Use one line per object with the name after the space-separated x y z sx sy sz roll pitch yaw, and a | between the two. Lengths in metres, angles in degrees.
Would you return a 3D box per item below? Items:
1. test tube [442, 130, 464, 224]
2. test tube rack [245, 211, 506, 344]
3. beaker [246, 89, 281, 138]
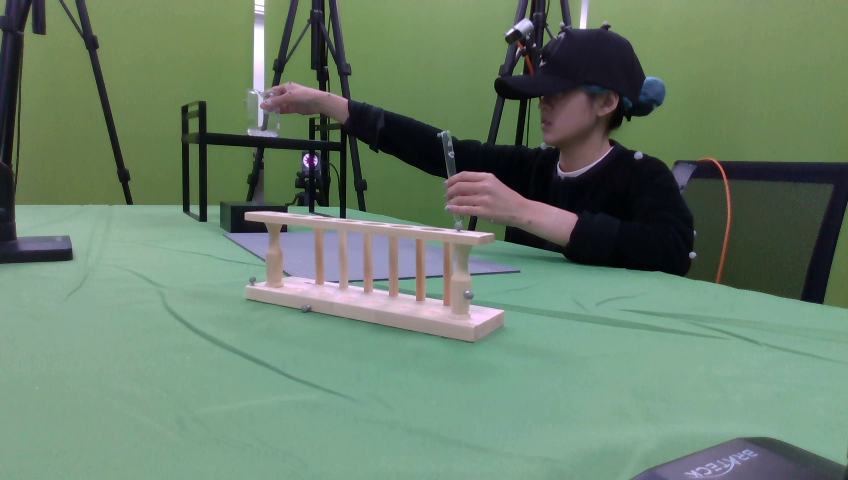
0.047 -0.100 0.970 0.017 0.150 0.017 -9 4 1 | test tube
-0.049 0.025 0.547 0.241 0.085 0.067 7 8 28 | test tube rack
-0.351 -0.274 1.319 0.074 0.100 0.083 1 8 -15 | beaker
